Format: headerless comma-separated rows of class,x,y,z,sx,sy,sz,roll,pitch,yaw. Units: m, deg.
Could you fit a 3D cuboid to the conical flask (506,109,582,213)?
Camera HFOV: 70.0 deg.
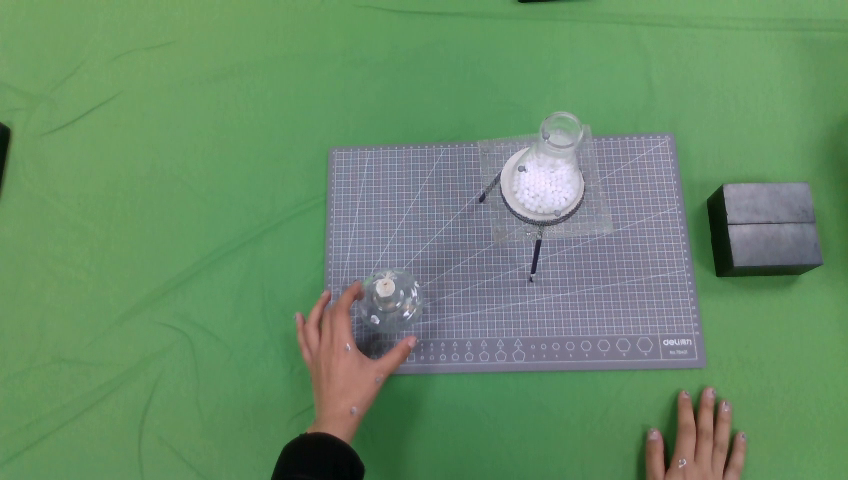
conical flask,0.120,-0.079,0.576,0.075,0.122,0.075,-1,73,3

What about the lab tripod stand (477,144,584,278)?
lab tripod stand,0.129,-0.044,0.696,0.148,0.132,0.147,-1,72,3

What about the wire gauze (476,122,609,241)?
wire gauze,0.123,-0.061,0.633,0.125,0.011,0.121,-6,75,-2

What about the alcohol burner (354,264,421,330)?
alcohol burner,-0.042,0.061,0.685,0.078,0.120,0.077,0,72,2
